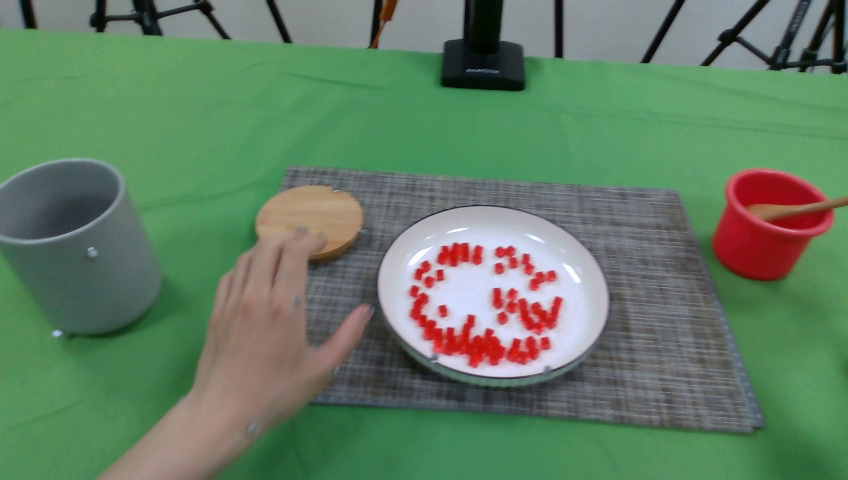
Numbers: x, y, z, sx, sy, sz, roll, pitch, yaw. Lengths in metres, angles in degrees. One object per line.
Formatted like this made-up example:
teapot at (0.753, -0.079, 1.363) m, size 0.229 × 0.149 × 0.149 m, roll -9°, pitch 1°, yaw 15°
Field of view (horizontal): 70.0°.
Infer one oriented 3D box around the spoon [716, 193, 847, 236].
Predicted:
spoon at (0.370, -0.036, 0.569) m, size 0.193 × 0.022 × 0.041 m, roll -15°, pitch 25°, yaw 43°

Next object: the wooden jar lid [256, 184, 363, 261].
wooden jar lid at (-0.117, -0.017, 0.624) m, size 0.108 × 0.021 × 0.107 m, roll 2°, pitch 44°, yaw -2°

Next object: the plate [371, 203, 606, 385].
plate at (0.057, 0.047, 0.553) m, size 0.208 × 0.039 × 0.205 m, roll 1°, pitch 45°, yaw -1°

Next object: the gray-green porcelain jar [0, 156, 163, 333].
gray-green porcelain jar at (-0.291, 0.009, 0.521) m, size 0.106 × 0.127 × 0.105 m, roll 1°, pitch 45°, yaw -1°
